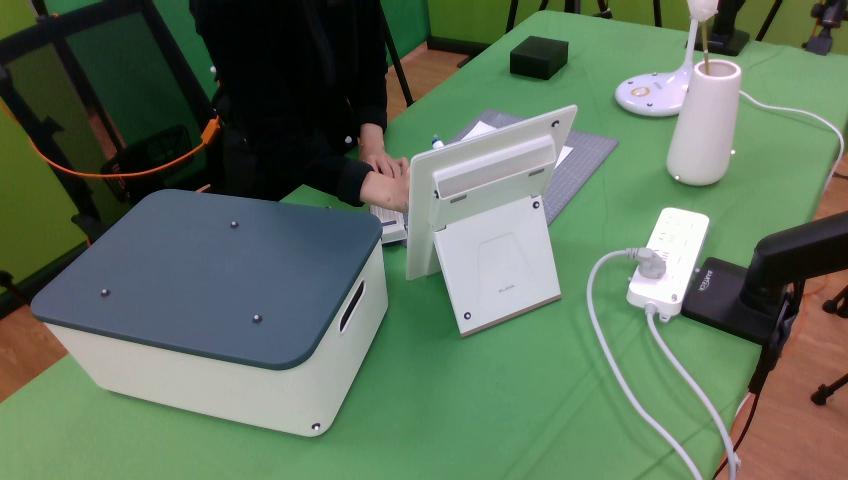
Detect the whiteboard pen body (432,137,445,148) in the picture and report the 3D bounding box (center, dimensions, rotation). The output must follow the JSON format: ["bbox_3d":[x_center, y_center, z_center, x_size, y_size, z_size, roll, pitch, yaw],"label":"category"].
[{"bbox_3d":[0.050,-0.090,0.874,0.017,0.017,0.140,-25,74,-20],"label":"whiteboard pen body"}]

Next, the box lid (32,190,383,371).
[{"bbox_3d":[-0.257,0.032,0.750,0.370,0.015,0.263,7,41,16],"label":"box lid"}]

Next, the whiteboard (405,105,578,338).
[{"bbox_3d":[0.102,0.003,0.787,0.218,0.306,0.143,-19,62,-14],"label":"whiteboard"}]

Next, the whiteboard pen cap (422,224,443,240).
[{"bbox_3d":[0.013,-0.013,0.988,0.033,0.018,0.018,-30,46,-21],"label":"whiteboard pen cap"}]

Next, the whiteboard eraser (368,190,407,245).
[{"bbox_3d":[-0.061,-0.035,1.006,0.056,0.042,0.112,-9,40,-3],"label":"whiteboard eraser"}]

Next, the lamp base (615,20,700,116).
[{"bbox_3d":[0.484,-0.364,1.211,0.180,0.181,0.159,-15,41,-14],"label":"lamp base"}]

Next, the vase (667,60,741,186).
[{"bbox_3d":[0.463,-0.189,0.994,0.098,0.201,0.097,-4,40,4],"label":"vase"}]

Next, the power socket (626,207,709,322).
[{"bbox_3d":[0.360,0.026,0.886,0.072,0.033,0.227,17,46,27],"label":"power socket"}]

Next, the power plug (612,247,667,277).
[{"bbox_3d":[0.306,0.031,0.852,0.072,0.053,0.035,21,48,37],"label":"power plug"}]

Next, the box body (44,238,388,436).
[{"bbox_3d":[-0.251,0.088,0.799,0.362,0.161,0.254,7,42,16],"label":"box body"}]

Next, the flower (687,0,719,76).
[{"bbox_3d":[0.436,-0.242,0.934,0.038,0.364,0.043,-24,49,8],"label":"flower"}]
